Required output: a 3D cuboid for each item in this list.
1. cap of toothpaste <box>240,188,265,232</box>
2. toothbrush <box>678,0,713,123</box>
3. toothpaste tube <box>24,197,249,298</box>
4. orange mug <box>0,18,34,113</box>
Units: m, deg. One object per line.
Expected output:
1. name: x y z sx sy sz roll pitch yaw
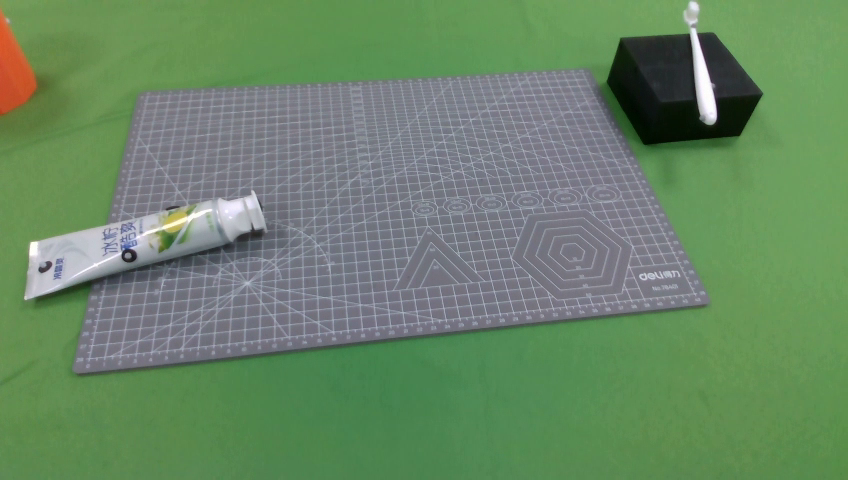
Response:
1. cap of toothpaste: -0.132 -0.022 0.464 0.011 0.037 0.037 -21 54 -19
2. toothbrush: 0.252 -0.170 0.562 0.014 0.017 0.180 11 52 2
3. toothpaste tube: -0.210 -0.002 0.452 0.165 0.035 0.054 -15 48 -10
4. orange mug: -0.424 -0.161 0.525 0.083 0.101 0.126 28 50 18
